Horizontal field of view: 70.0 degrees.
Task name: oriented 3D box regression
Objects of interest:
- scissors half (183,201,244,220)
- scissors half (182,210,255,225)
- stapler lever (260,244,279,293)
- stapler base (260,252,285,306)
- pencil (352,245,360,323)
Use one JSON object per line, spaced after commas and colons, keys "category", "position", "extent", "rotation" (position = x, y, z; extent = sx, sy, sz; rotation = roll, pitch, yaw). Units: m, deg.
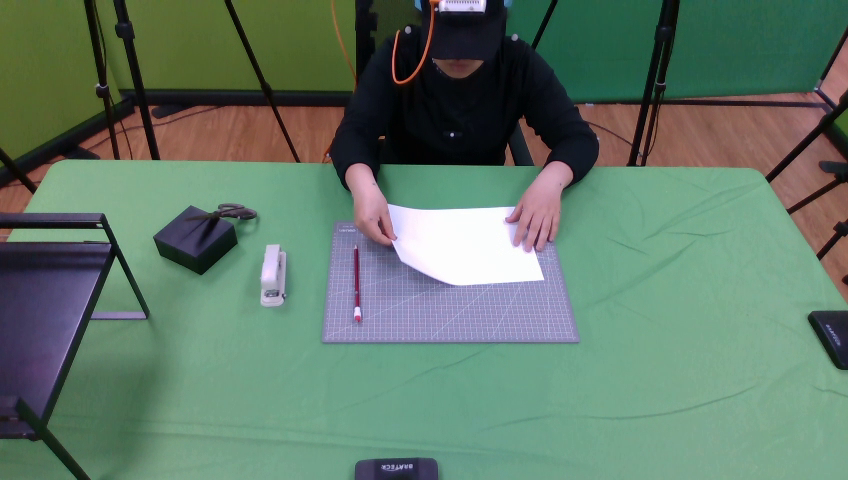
{"category": "scissors half", "position": [-0.405, -0.054, 1.163], "extent": [0.040, 0.013, 0.175], "rotation": [29, 18, 7]}
{"category": "scissors half", "position": [-0.389, -0.042, 1.158], "extent": [0.040, 0.013, 0.175], "rotation": [41, 21, 22]}
{"category": "stapler lever", "position": [-0.279, 0.045, 1.096], "extent": [0.027, 0.040, 0.117], "rotation": [-1, 44, -9]}
{"category": "stapler base", "position": [-0.279, 0.064, 1.113], "extent": [0.041, 0.024, 0.129], "rotation": [-1, 44, -9]}
{"category": "pencil", "position": [-0.127, 0.076, 1.120], "extent": [0.012, 0.012, 0.192], "rotation": [-2, 44, -7]}
